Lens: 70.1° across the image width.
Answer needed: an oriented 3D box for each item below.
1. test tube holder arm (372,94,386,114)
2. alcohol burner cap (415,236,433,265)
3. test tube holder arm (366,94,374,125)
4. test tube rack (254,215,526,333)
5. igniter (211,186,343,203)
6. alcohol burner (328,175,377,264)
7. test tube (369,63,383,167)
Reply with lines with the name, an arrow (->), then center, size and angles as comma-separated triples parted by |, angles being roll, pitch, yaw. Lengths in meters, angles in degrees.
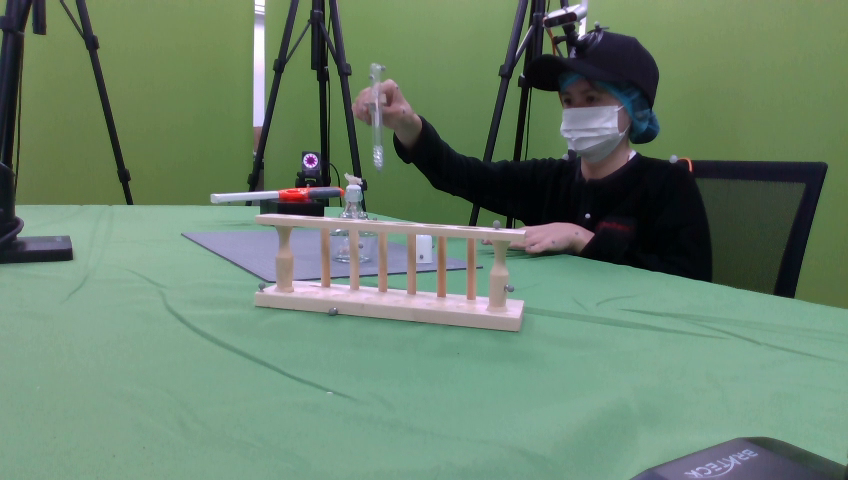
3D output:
test tube holder arm -> -0.071, -0.200, 0.896 | 0.010, 0.015, 0.087 | 0, 1, -16
alcohol burner cap -> -0.004, 0.011, 0.835 | 0.034, 0.048, 0.034 | 2, 7, 0
test tube holder arm -> -0.084, -0.201, 0.939 | 0.013, 0.015, 0.178 | 1, 0, -8
test tube rack -> -0.030, 0.025, 0.558 | 0.242, 0.085, 0.067 | 4, 7, 12
igniter -> -0.300, -0.095, 1.266 | 0.278, 0.025, 0.057 | -6, 12, -34
alcohol burner -> -0.098, -0.028, 0.819 | 0.078, 0.119, 0.078 | 1, 8, 0
test tube -> -0.070, -0.180, 0.872 | 0.017, 0.150, 0.017 | -2, -2, 0
